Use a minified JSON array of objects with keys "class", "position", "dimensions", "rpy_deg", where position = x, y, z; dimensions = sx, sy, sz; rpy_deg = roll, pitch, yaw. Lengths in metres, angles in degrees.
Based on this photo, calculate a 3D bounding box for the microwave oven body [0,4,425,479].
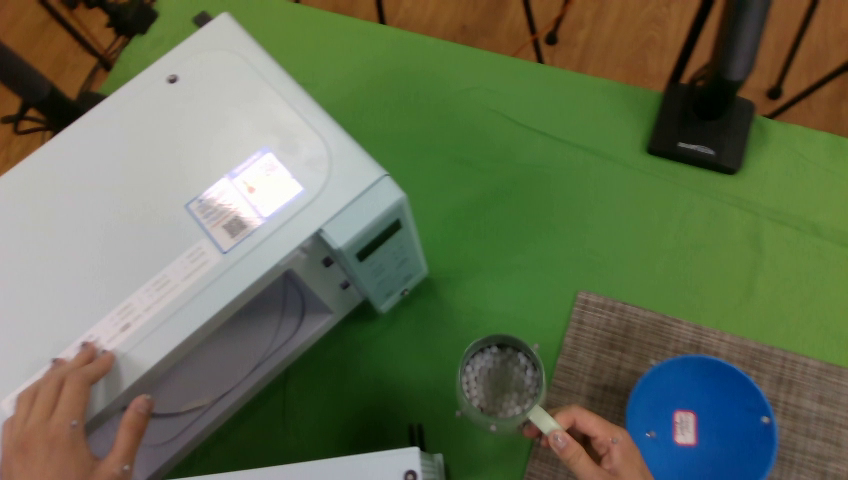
[{"class":"microwave oven body","position":[-0.271,0.026,0.674],"dimensions":[0.441,0.262,0.324],"rpy_deg":[-42,72,-9]}]

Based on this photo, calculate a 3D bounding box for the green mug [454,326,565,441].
[{"class":"green mug","position":[0.085,0.144,0.585],"dimensions":[0.124,0.106,0.092],"rpy_deg":[41,79,18]}]

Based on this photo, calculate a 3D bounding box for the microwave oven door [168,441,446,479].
[{"class":"microwave oven door","position":[-0.164,0.233,0.582],"dimensions":[0.356,0.245,0.039],"rpy_deg":[-9,70,2]}]

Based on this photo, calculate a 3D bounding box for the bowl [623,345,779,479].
[{"class":"bowl","position":[0.285,0.195,0.653],"dimensions":[0.151,0.077,0.150],"rpy_deg":[-2,70,5]}]

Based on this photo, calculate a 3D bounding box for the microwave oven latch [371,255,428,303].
[{"class":"microwave oven latch","position":[-0.031,0.042,0.748],"dimensions":[0.079,0.030,0.030],"rpy_deg":[-40,71,-8]}]
